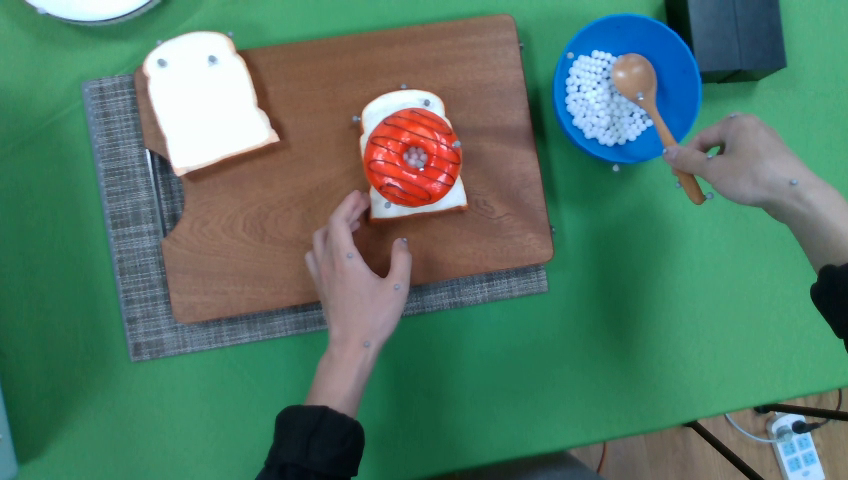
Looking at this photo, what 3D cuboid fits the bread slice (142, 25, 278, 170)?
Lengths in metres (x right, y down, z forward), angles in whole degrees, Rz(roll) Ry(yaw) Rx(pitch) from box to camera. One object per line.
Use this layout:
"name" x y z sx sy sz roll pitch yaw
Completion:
"bread slice" -0.223 -0.147 0.611 0.107 0.018 0.134 -24 90 -4

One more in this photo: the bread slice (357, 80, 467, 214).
"bread slice" -0.018 -0.098 0.625 0.105 0.019 0.131 -11 92 -5

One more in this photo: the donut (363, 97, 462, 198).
"donut" -0.011 -0.090 0.596 0.099 0.048 0.099 0 91 -3

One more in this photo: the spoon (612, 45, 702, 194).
"spoon" 0.226 -0.121 0.586 0.041 0.022 0.191 -17 53 12

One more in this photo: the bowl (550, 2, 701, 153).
"bowl" 0.199 -0.160 0.637 0.151 0.077 0.151 0 90 -3

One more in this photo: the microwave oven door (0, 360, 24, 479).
"microwave oven door" -0.454 0.062 0.497 0.039 0.243 0.355 -13 90 -3

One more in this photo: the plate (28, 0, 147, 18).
"plate" -0.346 -0.329 0.625 0.208 0.039 0.207 0 90 -4
